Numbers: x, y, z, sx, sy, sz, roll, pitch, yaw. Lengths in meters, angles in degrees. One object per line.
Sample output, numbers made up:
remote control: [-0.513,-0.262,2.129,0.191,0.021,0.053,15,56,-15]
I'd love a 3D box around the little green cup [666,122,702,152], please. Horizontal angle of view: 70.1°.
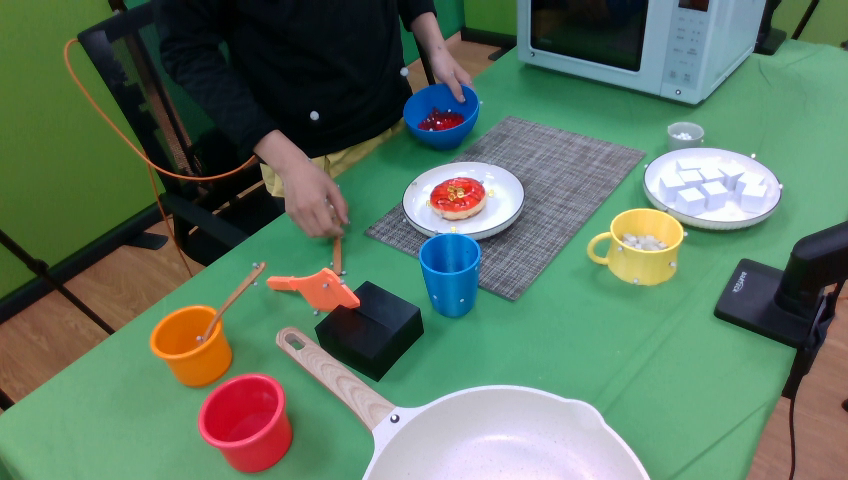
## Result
little green cup: [0.471,-0.184,1.102,0.061,0.039,0.061,-5,41,5]

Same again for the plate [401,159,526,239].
plate: [0.067,-0.065,1.019,0.209,0.038,0.208,-4,40,4]

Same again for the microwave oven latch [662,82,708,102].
microwave oven latch: [0.517,-0.298,1.202,0.078,0.029,0.030,27,52,34]

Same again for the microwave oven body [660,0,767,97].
microwave oven body: [0.473,-0.516,1.313,0.438,0.261,0.327,26,51,34]

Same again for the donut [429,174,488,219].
donut: [0.058,-0.075,1.015,0.099,0.048,0.098,-6,38,5]

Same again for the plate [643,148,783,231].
plate: [0.464,-0.080,0.986,0.207,0.039,0.206,-4,41,4]

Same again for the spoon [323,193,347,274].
spoon: [-0.148,-0.014,1.007,0.042,0.021,0.192,4,39,-13]

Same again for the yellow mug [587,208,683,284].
yellow mug: [0.305,0.009,0.884,0.131,0.064,0.099,-4,41,5]

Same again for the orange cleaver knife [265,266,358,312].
orange cleaver knife: [-0.164,0.073,0.864,0.210,0.077,0.012,-6,31,50]

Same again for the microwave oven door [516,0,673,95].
microwave oven door: [0.344,-0.458,1.256,0.353,0.245,0.039,26,51,33]

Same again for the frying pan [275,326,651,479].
frying pan: [0.003,0.229,0.641,0.484,0.103,0.308,34,54,28]

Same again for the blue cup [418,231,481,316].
blue cup: [0.040,0.053,0.843,0.092,0.100,0.092,-4,43,4]

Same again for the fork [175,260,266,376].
fork: [-0.268,0.103,0.792,0.207,0.019,0.028,-51,41,16]

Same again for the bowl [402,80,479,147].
bowl: [0.038,-0.238,1.188,0.151,0.077,0.150,-6,50,8]
